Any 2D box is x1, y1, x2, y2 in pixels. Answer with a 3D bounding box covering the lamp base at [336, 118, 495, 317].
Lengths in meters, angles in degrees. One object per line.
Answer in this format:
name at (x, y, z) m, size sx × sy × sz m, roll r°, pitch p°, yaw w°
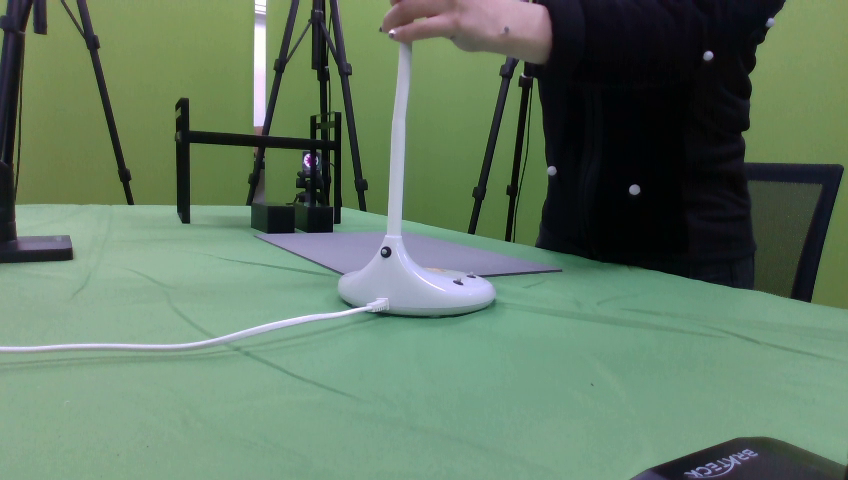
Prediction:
lamp base at (-0.009, -0.025, 0.589) m, size 0.160 × 0.180 × 0.179 m, roll 4°, pitch 10°, yaw 14°
